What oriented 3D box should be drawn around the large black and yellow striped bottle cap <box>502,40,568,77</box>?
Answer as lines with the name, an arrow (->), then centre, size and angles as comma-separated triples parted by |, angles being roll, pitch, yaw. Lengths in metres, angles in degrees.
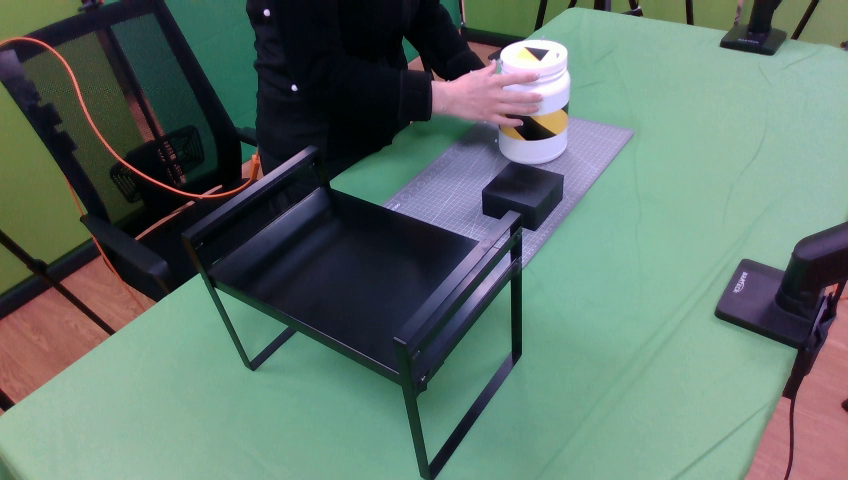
large black and yellow striped bottle cap -> 0.192, -0.316, 1.049 | 0.115, 0.019, 0.114 | -5, 39, 4

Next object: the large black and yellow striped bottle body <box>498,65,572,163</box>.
large black and yellow striped bottle body -> 0.202, -0.249, 1.106 | 0.131, 0.185, 0.130 | -4, 40, 4
